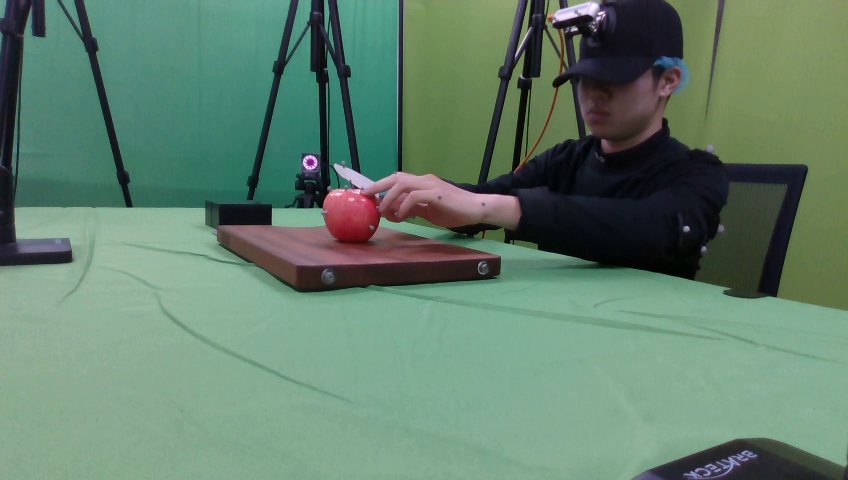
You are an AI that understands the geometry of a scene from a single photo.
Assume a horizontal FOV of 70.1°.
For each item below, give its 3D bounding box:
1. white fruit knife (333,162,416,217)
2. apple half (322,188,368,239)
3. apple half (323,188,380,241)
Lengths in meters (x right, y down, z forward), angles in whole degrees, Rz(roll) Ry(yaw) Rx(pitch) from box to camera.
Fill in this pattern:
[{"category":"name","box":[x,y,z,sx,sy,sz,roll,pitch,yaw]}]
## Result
[{"category":"white fruit knife","box":[-0.069,-0.076,0.900,0.016,0.027,0.208,-7,-18,29]},{"category":"apple half","box":[-0.120,-0.040,0.868,0.082,0.081,0.032,-4,14,-41]},{"category":"apple half","box":[-0.094,-0.034,0.840,0.081,0.074,0.053,1,11,-42]}]
